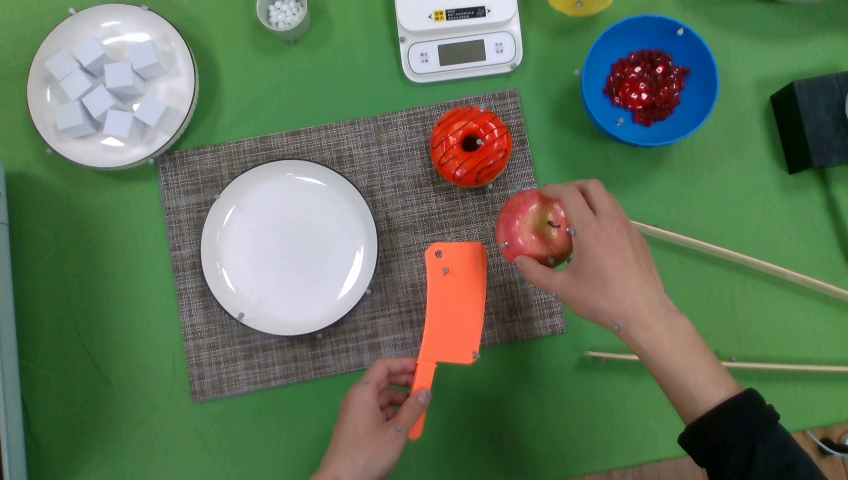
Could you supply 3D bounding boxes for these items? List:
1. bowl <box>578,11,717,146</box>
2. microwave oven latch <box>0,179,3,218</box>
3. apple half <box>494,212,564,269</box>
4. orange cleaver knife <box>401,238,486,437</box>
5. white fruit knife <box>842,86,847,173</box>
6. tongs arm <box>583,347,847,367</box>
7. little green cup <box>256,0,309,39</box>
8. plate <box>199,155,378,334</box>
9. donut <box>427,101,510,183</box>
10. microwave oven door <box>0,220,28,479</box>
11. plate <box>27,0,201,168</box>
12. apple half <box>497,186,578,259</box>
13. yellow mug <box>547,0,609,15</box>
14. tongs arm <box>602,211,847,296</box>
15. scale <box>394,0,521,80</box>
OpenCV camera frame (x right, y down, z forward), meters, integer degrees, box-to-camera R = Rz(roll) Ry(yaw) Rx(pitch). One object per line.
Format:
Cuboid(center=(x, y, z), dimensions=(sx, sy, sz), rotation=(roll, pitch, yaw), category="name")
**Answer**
Cuboid(center=(0.247, -0.175, 0.702), dimensions=(0.151, 0.077, 0.151), rotation=(0, 85, 2), category="bowl")
Cuboid(center=(-0.519, -0.065, 0.714), dimensions=(0.030, 0.029, 0.079), rotation=(-6, 85, 1), category="microwave oven latch")
Cuboid(center=(0.094, 0.008, 0.591), dimensions=(0.081, 0.081, 0.032), rotation=(36, 78, 5), category="apple half")
Cuboid(center=(0.022, 0.095, 0.620), dimensions=(0.077, 0.012, 0.210), rotation=(13, 78, -14), category="orange cleaver knife")
Cuboid(center=(0.489, -0.070, 0.685), dimensions=(0.016, 0.027, 0.208), rotation=(-13, 99, 1), category="white fruit knife")
Cuboid(center=(0.378, 0.120, 0.692), dimensions=(0.385, 0.026, 0.050), rotation=(5, 80, 2), category="tongs arm")
Cuboid(center=(-0.171, -0.279, 0.743), dimensions=(0.061, 0.039, 0.061), rotation=(0, 84, 2), category="little green cup")
Cuboid(center=(-0.156, 0.006, 0.713), dimensions=(0.209, 0.038, 0.208), rotation=(0, 85, 2), category="plate")
Cuboid(center=(0.052, -0.116, 0.715), dimensions=(0.099, 0.048, 0.099), rotation=(0, 86, 4), category="donut")
Cuboid(center=(-0.494, 0.141, 0.593), dimensions=(0.039, 0.244, 0.355), rotation=(-8, 84, 1), category="microwave oven door")
Cuboid(center=(-0.372, -0.187, 0.740), dimensions=(0.207, 0.039, 0.207), rotation=(0, 85, 2), category="plate")
Cuboid(center=(0.117, -0.023, 0.597), dimensions=(0.081, 0.075, 0.053), rotation=(36, 80, 1), category="apple half")
Cuboid(center=(0.179, -0.343, 0.725), dimensions=(0.100, 0.064, 0.130), rotation=(-43, 84, -2), category="yellow mug")
Cuboid(center=(0.393, 0.035, 0.703), dimensions=(0.387, 0.028, 0.028), rotation=(19, 78, 4), category="tongs arm")
Cuboid(center=(0.037, -0.302, 0.742), dimensions=(0.148, 0.031, 0.200), rotation=(-6, 85, 1), category="scale")
